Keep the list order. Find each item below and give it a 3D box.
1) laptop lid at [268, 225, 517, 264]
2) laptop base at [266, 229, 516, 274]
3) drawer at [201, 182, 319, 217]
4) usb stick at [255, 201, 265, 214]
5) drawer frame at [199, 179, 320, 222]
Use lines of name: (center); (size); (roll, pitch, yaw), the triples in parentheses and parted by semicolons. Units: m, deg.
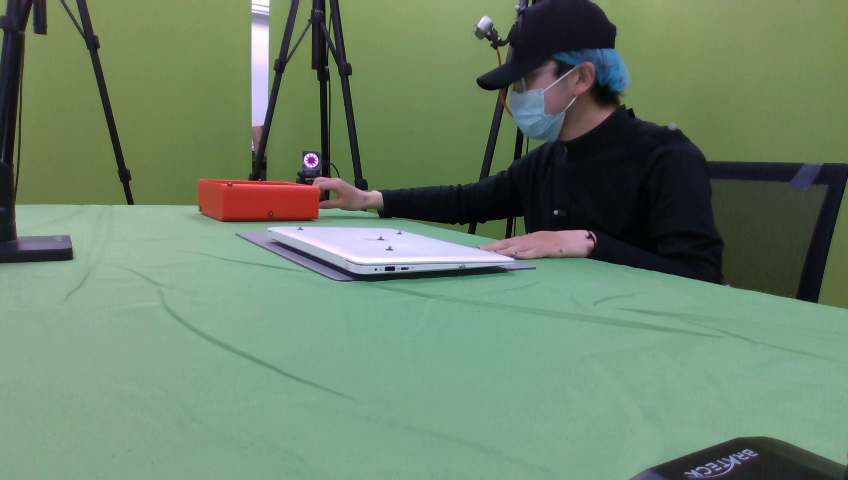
laptop lid: (-0.063, 0.002, 0.877); (0.243, 0.013, 0.355); (1, 7, -30)
laptop base: (-0.066, 0.014, 0.877); (0.237, 0.023, 0.352); (2, 6, -32)
drawer: (-0.370, -0.092, 1.358); (0.213, 0.073, 0.193); (-3, 10, -34)
usb stick: (-0.369, -0.074, 1.360); (0.021, 0.027, 0.059); (1, 8, -16)
drawer frame: (-0.370, -0.093, 1.356); (0.215, 0.082, 0.200); (-4, 10, -34)
